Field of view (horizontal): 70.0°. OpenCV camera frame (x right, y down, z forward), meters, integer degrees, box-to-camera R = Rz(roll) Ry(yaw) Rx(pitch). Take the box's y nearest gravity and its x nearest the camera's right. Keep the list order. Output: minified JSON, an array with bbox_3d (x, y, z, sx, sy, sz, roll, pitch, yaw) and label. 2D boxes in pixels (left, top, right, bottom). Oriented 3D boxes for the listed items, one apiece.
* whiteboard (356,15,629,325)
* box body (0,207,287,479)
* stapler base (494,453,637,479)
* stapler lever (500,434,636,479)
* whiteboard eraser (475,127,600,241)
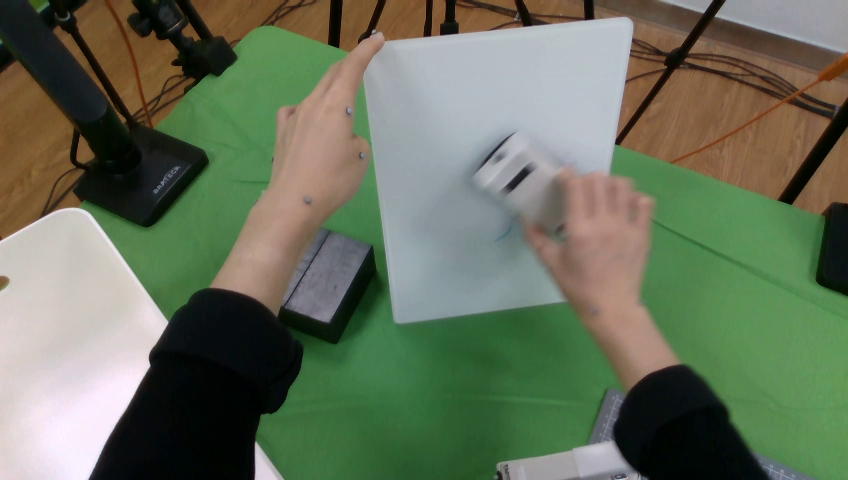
[{"bbox_3d":[0.056,-0.084,0.611,0.217,0.308,0.142,-6,39,-3],"label":"whiteboard"},{"bbox_3d":[-0.283,0.186,0.489,0.254,0.162,0.361,-38,65,-21],"label":"box body"},{"bbox_3d":[0.131,0.209,0.556,0.130,0.024,0.041,-8,54,-1],"label":"stapler base"},{"bbox_3d":[0.128,0.195,0.535,0.118,0.040,0.026,-8,54,-2],"label":"stapler lever"},{"bbox_3d":[0.101,-0.049,0.536,0.055,0.114,0.041,-47,32,16],"label":"whiteboard eraser"}]
